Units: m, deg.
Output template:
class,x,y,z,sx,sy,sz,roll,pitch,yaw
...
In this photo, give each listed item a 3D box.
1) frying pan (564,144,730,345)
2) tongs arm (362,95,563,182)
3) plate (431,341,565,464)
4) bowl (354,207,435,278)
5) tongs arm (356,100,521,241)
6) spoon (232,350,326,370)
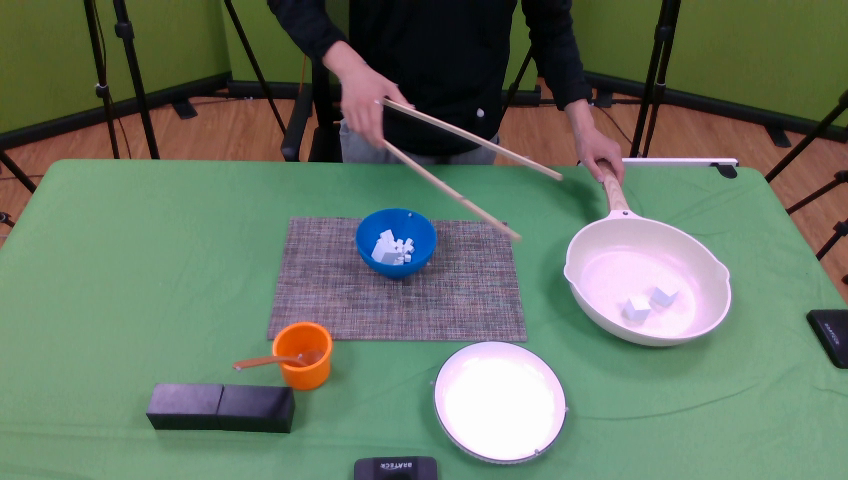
class,x,y,z,sx,sy,sz,roll,pitch,yaw
frying pan,0.396,-0.008,1.179,0.307,0.103,0.484,0,55,-5
tongs arm,0.061,-0.179,1.056,0.386,0.028,0.028,26,83,16
plate,0.114,0.255,0.952,0.208,0.039,0.206,3,46,-2
bowl,-0.055,0.018,1.132,0.151,0.077,0.150,2,46,-2
tongs arm,0.021,-0.124,1.044,0.383,0.026,0.050,35,82,18
spoon,-0.216,0.182,0.919,0.041,0.194,0.021,44,102,27
